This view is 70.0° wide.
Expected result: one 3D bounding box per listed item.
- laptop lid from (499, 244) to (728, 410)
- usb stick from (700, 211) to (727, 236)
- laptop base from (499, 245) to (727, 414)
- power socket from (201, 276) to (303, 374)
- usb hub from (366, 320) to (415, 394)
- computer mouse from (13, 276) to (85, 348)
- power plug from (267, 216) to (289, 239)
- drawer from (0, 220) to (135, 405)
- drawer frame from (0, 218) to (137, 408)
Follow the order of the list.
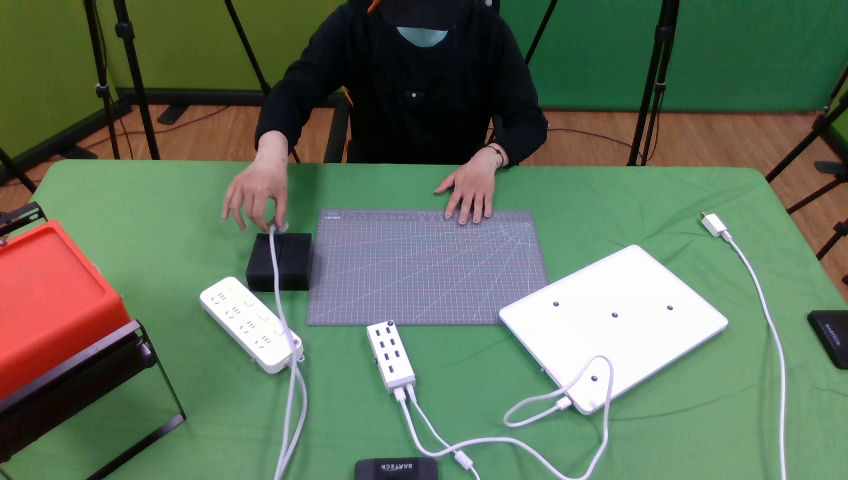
[{"bbox_3d":[0.338,0.136,1.081,0.357,0.013,0.240,-21,50,-23],"label":"laptop lid"},{"bbox_3d":[0.606,-0.038,1.273,0.027,0.021,0.059,-18,56,-20],"label":"usb stick"},{"bbox_3d":[0.339,0.145,1.088,0.354,0.023,0.234,-23,49,-24],"label":"laptop base"},{"bbox_3d":[-0.296,0.141,1.034,0.225,0.033,0.072,37,55,26],"label":"power socket"},{"bbox_3d":[-0.056,0.192,1.009,0.049,0.025,0.124,-12,49,-16],"label":"usb hub"},{"bbox_3d":[-0.497,0.090,0.804,0.063,0.041,0.116,-7,42,-7],"label":"computer mouse"},{"bbox_3d":[-0.285,-0.014,1.168,0.035,0.053,0.072,-14,36,22],"label":"power plug"},{"bbox_3d":[-0.522,0.093,0.782,0.193,0.073,0.211,38,55,27],"label":"drawer"},{"bbox_3d":[-0.523,0.094,0.779,0.200,0.083,0.213,37,55,26],"label":"drawer frame"}]
